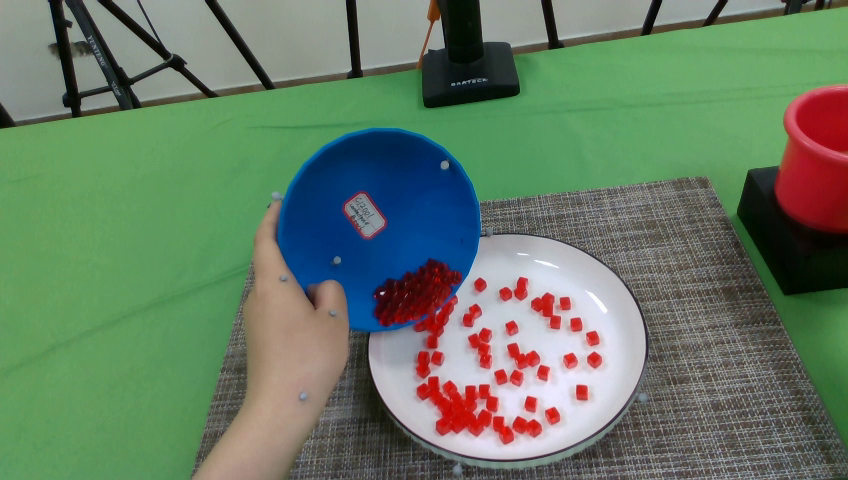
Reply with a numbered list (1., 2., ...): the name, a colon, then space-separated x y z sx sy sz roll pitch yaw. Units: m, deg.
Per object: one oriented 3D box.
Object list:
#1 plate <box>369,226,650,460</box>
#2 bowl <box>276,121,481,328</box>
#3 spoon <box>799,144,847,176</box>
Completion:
1. plate: 0.063 0.074 0.466 0.207 0.039 0.205 -6 45 6
2. bowl: -0.041 -0.017 0.465 0.151 0.152 0.076 -24 20 -12
3. spoon: 0.313 -0.063 0.389 0.041 0.194 0.021 -31 89 -1
